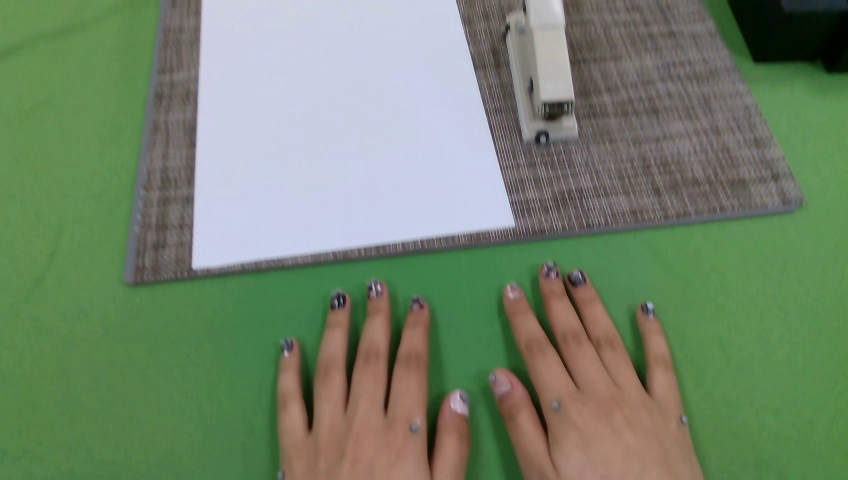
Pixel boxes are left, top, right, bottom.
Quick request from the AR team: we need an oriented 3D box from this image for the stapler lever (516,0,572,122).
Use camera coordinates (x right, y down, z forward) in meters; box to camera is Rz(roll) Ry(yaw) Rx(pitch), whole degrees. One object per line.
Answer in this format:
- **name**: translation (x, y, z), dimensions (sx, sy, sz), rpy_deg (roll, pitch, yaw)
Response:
- **stapler lever**: translation (0.087, -0.141, 0.443), dimensions (0.027, 0.040, 0.117), rpy_deg (-5, 60, 1)

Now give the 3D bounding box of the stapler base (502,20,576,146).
- **stapler base**: translation (0.087, -0.129, 0.465), dimensions (0.041, 0.024, 0.129), rpy_deg (-4, 61, 1)
